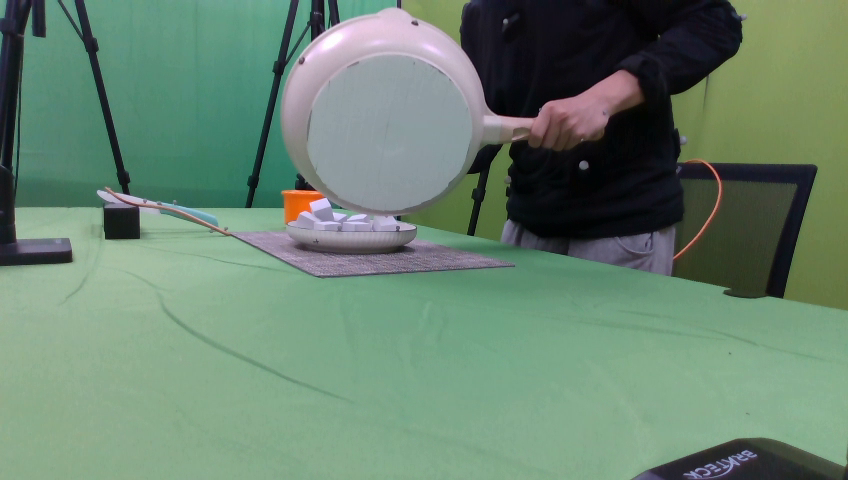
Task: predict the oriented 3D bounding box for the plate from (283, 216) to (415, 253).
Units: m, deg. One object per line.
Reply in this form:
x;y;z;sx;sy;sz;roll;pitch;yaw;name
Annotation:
-0.119;-0.009;0.968;0.208;0.039;0.207;3;7;0;plate

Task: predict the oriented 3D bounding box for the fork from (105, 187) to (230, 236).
-0.428;-0.047;1.020;0.208;0.018;0.028;19;-10;-26;fork

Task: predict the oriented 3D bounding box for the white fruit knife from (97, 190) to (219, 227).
-0.468;-0.056;1.079;0.208;0.027;0.016;15;-2;-29;white fruit knife

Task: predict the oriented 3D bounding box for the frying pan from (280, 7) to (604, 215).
0.047;-0.164;0.873;0.490;0.307;0.102;-5;33;-19;frying pan

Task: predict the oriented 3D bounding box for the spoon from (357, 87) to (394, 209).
-0.067;-0.139;0.889;0.042;0.193;0.021;18;-21;-31;spoon
